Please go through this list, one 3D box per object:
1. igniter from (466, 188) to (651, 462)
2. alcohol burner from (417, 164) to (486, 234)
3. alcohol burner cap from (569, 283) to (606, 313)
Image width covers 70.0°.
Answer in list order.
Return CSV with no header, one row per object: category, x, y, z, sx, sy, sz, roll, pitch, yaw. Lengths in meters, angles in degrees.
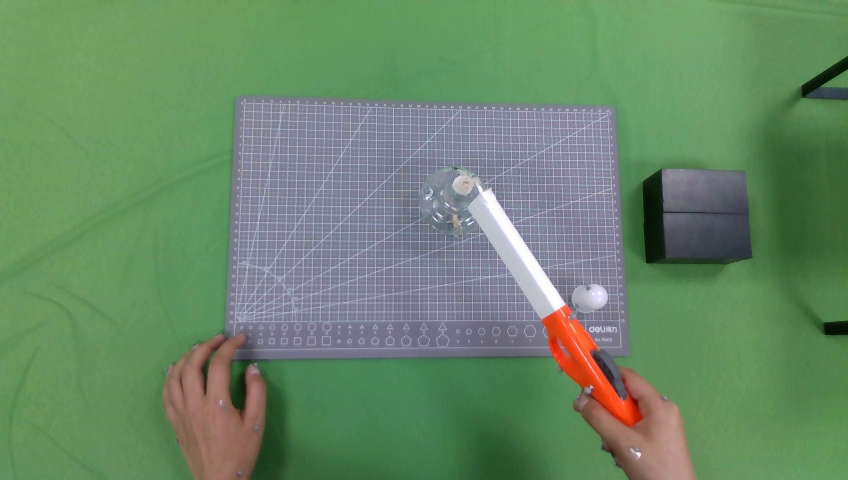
igniter,0.121,0.075,0.550,0.025,0.057,0.275,-25,79,-34
alcohol burner,0.033,-0.048,0.645,0.078,0.119,0.077,1,80,-6
alcohol burner cap,0.184,0.064,0.676,0.034,0.048,0.033,1,79,-4
